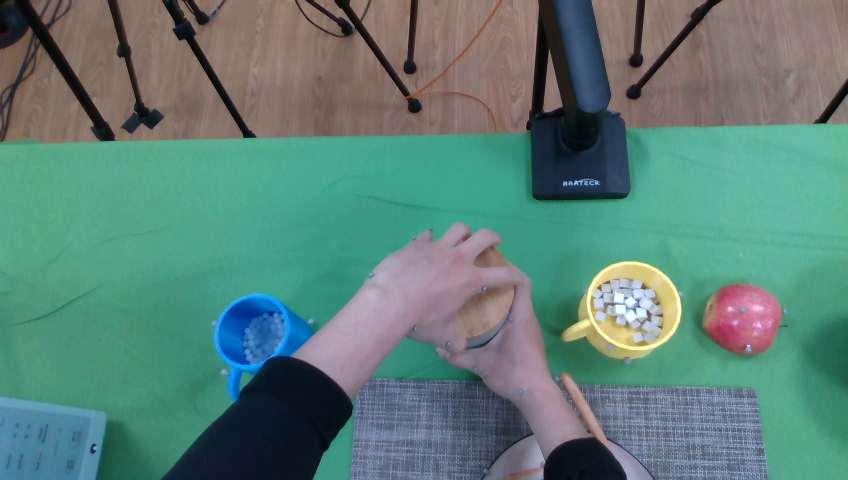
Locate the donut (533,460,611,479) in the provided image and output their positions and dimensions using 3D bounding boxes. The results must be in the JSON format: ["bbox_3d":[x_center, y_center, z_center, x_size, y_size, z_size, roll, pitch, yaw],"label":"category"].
[{"bbox_3d":[0.149,0.271,0.604,0.099,0.048,0.098,0,66,0],"label":"donut"}]

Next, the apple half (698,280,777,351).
[{"bbox_3d":[0.354,0.079,0.679,0.074,0.054,0.080,21,74,15],"label":"apple half"}]

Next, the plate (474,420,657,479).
[{"bbox_3d":[0.147,0.295,0.628,0.207,0.039,0.206,-2,71,5],"label":"plate"}]

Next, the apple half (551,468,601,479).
[{"bbox_3d":[0.144,0.258,0.574,0.081,0.033,0.080,-4,67,10],"label":"apple half"}]

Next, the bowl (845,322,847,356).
[{"bbox_3d":[0.512,0.117,0.637,0.151,0.077,0.150,-2,71,6],"label":"bowl"}]

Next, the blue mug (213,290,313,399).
[{"bbox_3d":[-0.187,0.125,0.689,0.082,0.106,0.116,20,74,12],"label":"blue mug"}]

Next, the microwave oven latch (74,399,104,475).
[{"bbox_3d":[-0.391,0.224,0.690,0.030,0.030,0.078,5,72,7],"label":"microwave oven latch"}]

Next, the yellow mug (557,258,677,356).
[{"bbox_3d":[0.212,0.083,0.685,0.131,0.064,0.099,-23,70,-2],"label":"yellow mug"}]

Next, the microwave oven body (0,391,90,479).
[{"bbox_3d":[-0.554,0.358,0.557,0.326,0.262,0.439,0,71,6],"label":"microwave oven body"}]

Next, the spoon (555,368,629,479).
[{"bbox_3d":[0.190,0.221,0.633,0.041,0.022,0.193,-26,79,-3],"label":"spoon"}]

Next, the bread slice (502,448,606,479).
[{"bbox_3d":[0.153,0.294,0.631,0.107,0.018,0.133,-16,69,1],"label":"bread slice"}]

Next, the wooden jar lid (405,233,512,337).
[{"bbox_3d":[0.035,0.047,0.617,0.108,0.021,0.107,-2,70,6],"label":"wooden jar lid"}]

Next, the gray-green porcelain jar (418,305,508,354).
[{"bbox_3d":[0.041,0.068,0.675,0.106,0.127,0.105,-2,69,5],"label":"gray-green porcelain jar"}]

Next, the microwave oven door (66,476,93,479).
[{"bbox_3d":[-0.411,0.396,0.524,0.039,0.245,0.353,0,71,6],"label":"microwave oven door"}]
